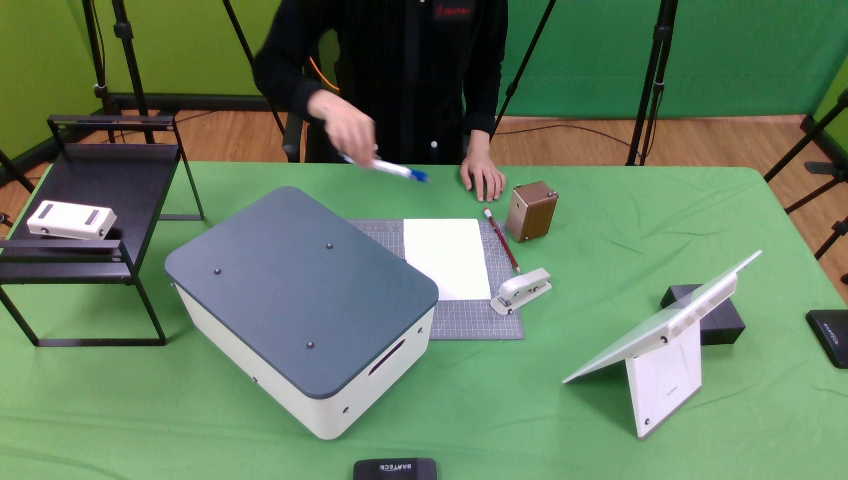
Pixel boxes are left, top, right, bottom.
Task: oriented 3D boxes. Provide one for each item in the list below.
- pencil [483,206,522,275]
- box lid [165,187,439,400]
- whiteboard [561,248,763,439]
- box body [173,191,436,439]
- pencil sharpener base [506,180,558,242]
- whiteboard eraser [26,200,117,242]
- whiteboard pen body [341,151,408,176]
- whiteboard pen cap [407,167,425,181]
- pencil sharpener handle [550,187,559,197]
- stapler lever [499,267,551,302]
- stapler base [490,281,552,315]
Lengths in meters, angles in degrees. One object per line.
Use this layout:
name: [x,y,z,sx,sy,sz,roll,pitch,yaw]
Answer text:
pencil: [0.158,-0.001,1.218,0.012,0.012,0.192,-11,48,-14]
box lid: [-0.186,0.060,0.925,0.370,0.015,0.263,32,53,25]
whiteboard: [0.386,0.176,0.905,0.217,0.306,0.143,-26,72,-27]
box body: [-0.191,0.110,0.979,0.362,0.161,0.254,33,53,24]
pencil sharpener base: [0.216,-0.058,1.211,0.077,0.107,0.061,-16,49,-19]
whiteboard eraser: [-0.532,-0.026,0.919,0.113,0.042,0.055,7,45,3]
whiteboard pen body: [-0.072,-0.126,1.017,0.140,0.017,0.017,16,47,6]
whiteboard pen cap: [-0.016,-0.110,1.012,0.033,0.018,0.018,15,47,6]
pencil sharpener handle: [0.261,-0.084,1.221,0.031,0.068,0.036,-16,66,-19]
stapler lever: [0.185,0.076,1.101,0.118,0.040,0.026,-25,57,-29]
stapler base: [0.181,0.094,1.118,0.130,0.024,0.041,-24,57,-29]
